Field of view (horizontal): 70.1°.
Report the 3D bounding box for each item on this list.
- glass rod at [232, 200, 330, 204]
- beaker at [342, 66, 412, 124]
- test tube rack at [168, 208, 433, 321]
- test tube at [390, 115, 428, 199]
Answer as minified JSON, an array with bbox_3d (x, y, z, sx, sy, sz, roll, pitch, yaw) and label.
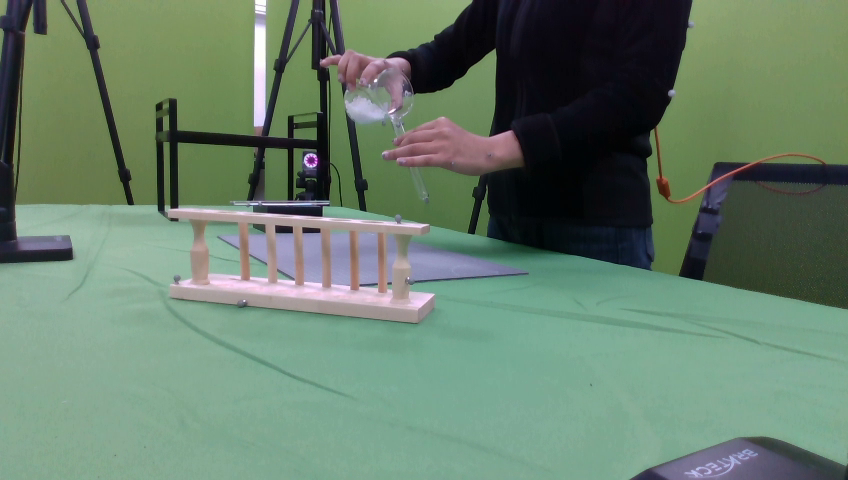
[{"bbox_3d":[-0.266,-0.072,1.146,0.201,0.008,0.008,-4,10,-40],"label":"glass rod"},{"bbox_3d":[-0.078,-0.226,0.971,0.074,0.084,0.100,-5,3,-40],"label":"beaker"},{"bbox_3d":[-0.115,0.017,0.574,0.242,0.085,0.067,4,8,13],"label":"test tube rack"},{"bbox_3d":[-0.023,-0.126,0.907,0.017,0.149,0.017,-17,-24,-8],"label":"test tube"}]
